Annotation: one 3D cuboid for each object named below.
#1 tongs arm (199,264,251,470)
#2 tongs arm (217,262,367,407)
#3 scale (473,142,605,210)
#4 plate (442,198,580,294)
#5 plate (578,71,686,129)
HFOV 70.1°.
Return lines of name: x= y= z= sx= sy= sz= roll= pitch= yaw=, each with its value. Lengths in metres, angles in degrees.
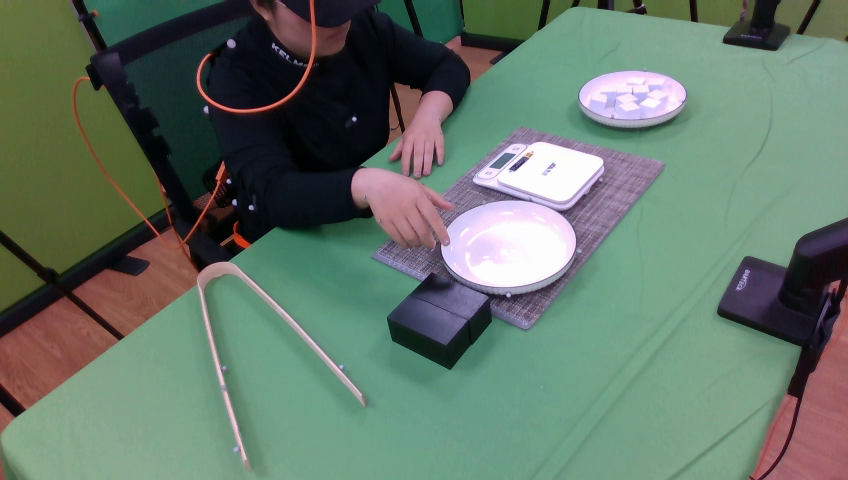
tongs arm: x=-0.269 y=0.154 z=0.841 sx=0.051 sy=0.026 sz=0.381 roll=-23 pitch=41 yaw=-17
tongs arm: x=-0.200 y=0.122 z=0.871 sx=0.028 sy=0.028 sz=0.384 roll=-36 pitch=46 yaw=-24
scale: x=0.202 y=-0.121 z=1.074 sx=0.199 sy=0.032 sz=0.149 roll=23 pitch=49 yaw=33
plate: x=0.132 y=0.012 z=0.926 sx=0.207 sy=0.039 sz=0.206 roll=-5 pitch=40 yaw=5
plate: x=0.416 y=-0.279 z=1.222 sx=0.209 sy=0.038 sz=0.208 roll=-5 pitch=41 yaw=5
